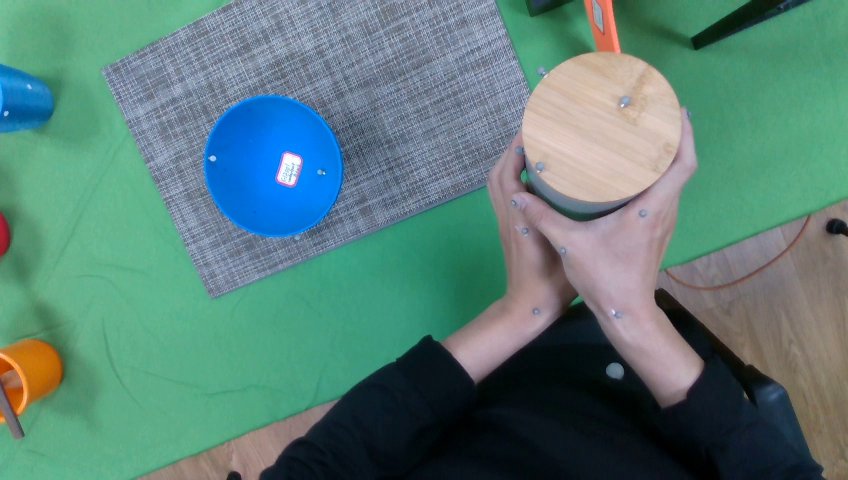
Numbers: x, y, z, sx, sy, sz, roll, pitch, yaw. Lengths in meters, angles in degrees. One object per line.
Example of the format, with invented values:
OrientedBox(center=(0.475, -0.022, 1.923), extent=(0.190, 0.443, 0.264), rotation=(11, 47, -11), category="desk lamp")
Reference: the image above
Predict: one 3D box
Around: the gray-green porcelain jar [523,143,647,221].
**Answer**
OrientedBox(center=(0.133, -0.074, 0.490), extent=(0.105, 0.127, 0.105), rotation=(-1, 82, 10), category="gray-green porcelain jar")

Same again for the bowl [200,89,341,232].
OrientedBox(center=(-0.159, -0.088, 0.675), extent=(0.151, 0.076, 0.152), rotation=(1, 100, 5), category="bowl")

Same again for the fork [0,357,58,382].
OrientedBox(center=(-0.558, 0.174, 0.723), extent=(0.208, 0.018, 0.028), rotation=(-10, 111, -37), category="fork")

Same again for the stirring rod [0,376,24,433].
OrientedBox(center=(-0.513, 0.147, 0.713), extent=(0.014, 0.006, 0.176), rotation=(-18, 98, 5), category="stirring rod")

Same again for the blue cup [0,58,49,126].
OrientedBox(center=(-0.485, -0.167, 0.683), extent=(0.092, 0.100, 0.093), rotation=(1, 100, 3), category="blue cup")

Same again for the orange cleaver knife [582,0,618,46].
OrientedBox(center=(0.190, -0.196, 0.625), extent=(0.012, 0.076, 0.213), rotation=(-27, 125, 6), category="orange cleaver knife")

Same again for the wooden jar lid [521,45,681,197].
OrientedBox(center=(0.123, -0.083, 0.429), extent=(0.108, 0.021, 0.108), rotation=(-1, 85, 11), category="wooden jar lid")
